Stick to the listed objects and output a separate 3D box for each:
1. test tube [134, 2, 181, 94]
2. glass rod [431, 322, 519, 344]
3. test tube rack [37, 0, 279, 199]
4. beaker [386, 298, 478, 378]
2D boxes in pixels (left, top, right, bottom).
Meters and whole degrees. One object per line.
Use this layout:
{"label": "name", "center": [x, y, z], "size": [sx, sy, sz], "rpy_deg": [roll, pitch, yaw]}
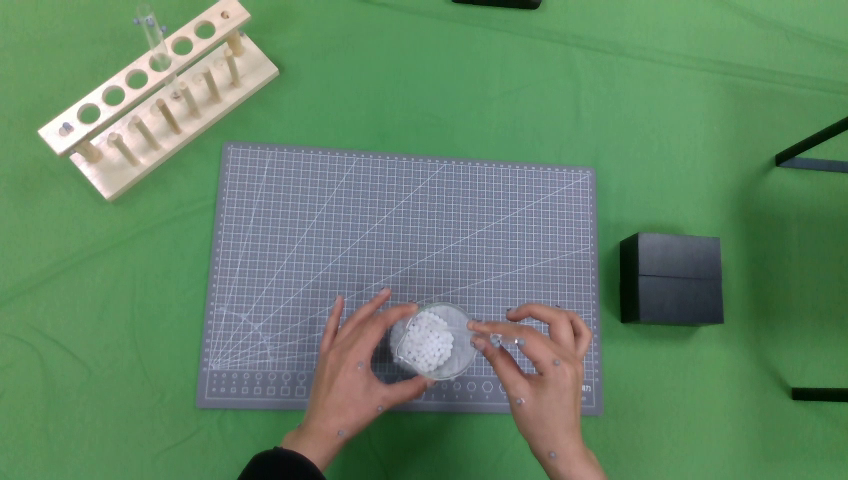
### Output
{"label": "test tube", "center": [-0.271, -0.192, 0.623], "size": [0.017, 0.150, 0.017], "rpy_deg": [3, 74, -10]}
{"label": "glass rod", "center": [0.040, 0.085, 0.560], "size": [0.008, 0.199, 0.008], "rpy_deg": [1, 85, -18]}
{"label": "test tube rack", "center": [-0.280, -0.156, 0.665], "size": [0.242, 0.085, 0.066], "rpy_deg": [-42, 85, -13]}
{"label": "beaker", "center": [0.001, 0.102, 0.618], "size": [0.084, 0.100, 0.074], "rpy_deg": [-14, 84, -16]}
